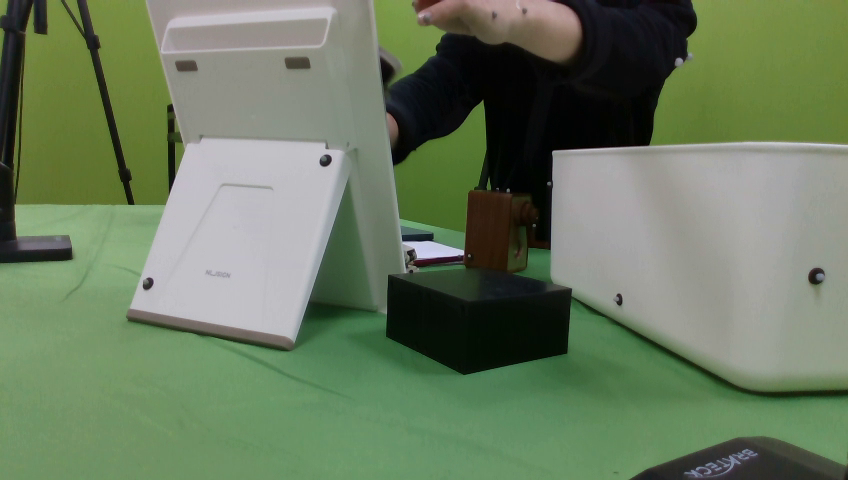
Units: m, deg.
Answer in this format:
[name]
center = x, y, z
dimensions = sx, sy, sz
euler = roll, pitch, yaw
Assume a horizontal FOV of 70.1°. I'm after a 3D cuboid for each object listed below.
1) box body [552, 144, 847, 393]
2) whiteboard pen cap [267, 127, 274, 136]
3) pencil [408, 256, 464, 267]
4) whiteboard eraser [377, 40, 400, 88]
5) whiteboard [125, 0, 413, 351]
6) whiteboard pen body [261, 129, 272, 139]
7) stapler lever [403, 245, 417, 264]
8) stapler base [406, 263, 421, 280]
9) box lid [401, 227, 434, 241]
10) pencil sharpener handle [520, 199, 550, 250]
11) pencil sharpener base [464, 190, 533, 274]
[box body]
center = 0.290, 0.002, 0.549
dimensions = 0.255, 0.160, 0.363
euler = 2, 7, -10
[whiteboard pen cap]
center = -0.340, -0.239, 1.337
dimensions = 0.018, 0.018, 0.033
euler = 1, -1, -14
[pencil]
center = 0.041, 0.028, 0.850
dimensions = 0.195, 0.012, 0.012
euler = -4, 10, -45
[whiteboard eraser]
center = -0.071, -0.120, 0.503
dimensions = 0.055, 0.112, 0.042
euler = 36, 36, -6
[whiteboard]
center = -0.151, -0.050, 0.471
dimensions = 0.216, 0.305, 0.144
euler = 6, 27, 25
[whiteboard pen body]
center = -0.361, -0.245, 1.393
dimensions = 0.017, 0.017, 0.140
euler = 0, 5, -20
[stapler lever]
center = -0.066, 0.003, 0.754
dimensions = 0.117, 0.040, 0.027
euler = 9, 14, 23
[stapler base]
center = -0.069, 0.027, 0.759
dimensions = 0.130, 0.024, 0.041
euler = 10, 14, 23
[box lid]
center = -0.196, -0.015, 1.105
dimensions = 0.373, 0.015, 0.262
euler = -1, 7, -32
[pencil sharpener handle]
center = 0.147, -0.019, 0.785
dimensions = 0.030, 0.068, 0.036
euler = 8, 24, 36
[pencil sharpener base]
center = 0.103, -0.012, 0.813
dimensions = 0.076, 0.107, 0.061
euler = 8, 9, 36
